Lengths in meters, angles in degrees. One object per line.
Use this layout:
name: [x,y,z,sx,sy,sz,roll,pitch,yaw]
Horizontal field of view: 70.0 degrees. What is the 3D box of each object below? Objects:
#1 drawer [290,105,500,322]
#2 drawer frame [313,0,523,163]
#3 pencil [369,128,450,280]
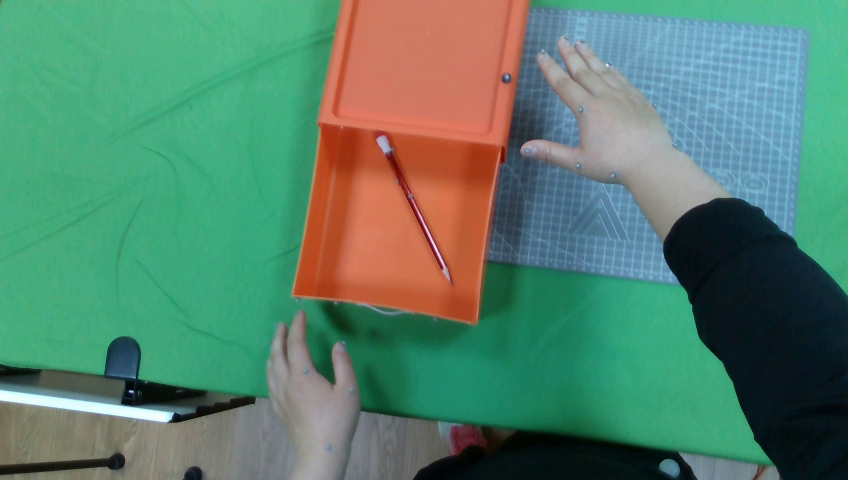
drawer: [-0.026,-0.027,0.648,0.194,0.073,0.211,7,86,8]
drawer frame: [-0.001,-0.204,0.662,0.201,0.083,0.213,7,83,8]
pencil: [-0.015,-0.041,0.675,0.012,0.012,0.193,-27,84,3]
